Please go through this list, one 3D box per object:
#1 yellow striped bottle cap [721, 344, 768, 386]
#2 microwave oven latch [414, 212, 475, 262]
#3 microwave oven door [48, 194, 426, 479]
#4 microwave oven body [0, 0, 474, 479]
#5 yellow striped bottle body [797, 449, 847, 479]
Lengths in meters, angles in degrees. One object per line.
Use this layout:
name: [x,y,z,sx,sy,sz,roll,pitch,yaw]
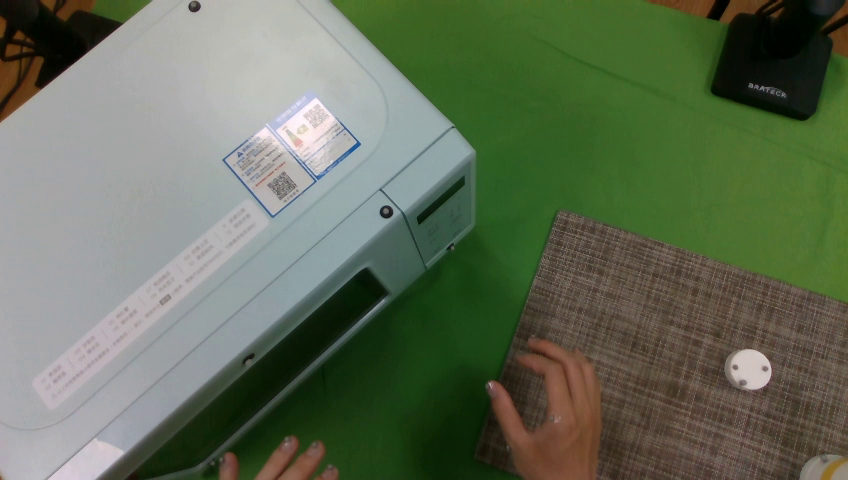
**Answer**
yellow striped bottle cap: [0.348,0.136,0.658,0.044,0.019,0.044,-1,77,6]
microwave oven latch: [0.022,-0.011,0.689,0.079,0.029,0.030,-40,78,-4]
microwave oven door: [-0.150,0.110,0.570,0.355,0.245,0.039,-42,77,-5]
microwave oven body: [-0.216,-0.020,0.610,0.441,0.261,0.324,-42,78,-5]
yellow striped bottle body: [0.416,0.237,0.576,0.063,0.121,0.062,-1,76,4]
